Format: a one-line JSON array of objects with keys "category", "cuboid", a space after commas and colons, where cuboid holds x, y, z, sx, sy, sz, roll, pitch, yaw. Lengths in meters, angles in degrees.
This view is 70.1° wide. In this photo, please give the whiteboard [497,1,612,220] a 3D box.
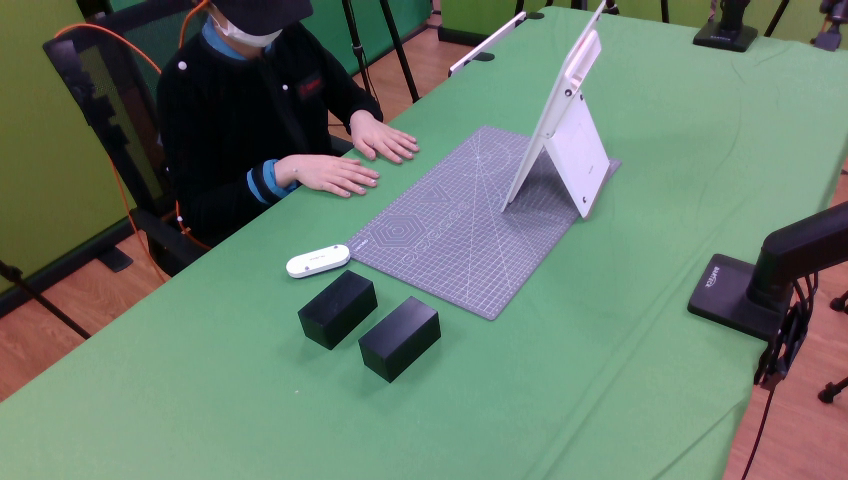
[{"category": "whiteboard", "cuboid": [0.260, -0.178, 0.963, 0.143, 0.306, 0.217, 28, 49, 9]}]

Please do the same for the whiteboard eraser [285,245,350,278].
[{"category": "whiteboard eraser", "cuboid": [-0.168, 0.033, 0.954, 0.101, 0.019, 0.041, -15, 41, -9]}]
